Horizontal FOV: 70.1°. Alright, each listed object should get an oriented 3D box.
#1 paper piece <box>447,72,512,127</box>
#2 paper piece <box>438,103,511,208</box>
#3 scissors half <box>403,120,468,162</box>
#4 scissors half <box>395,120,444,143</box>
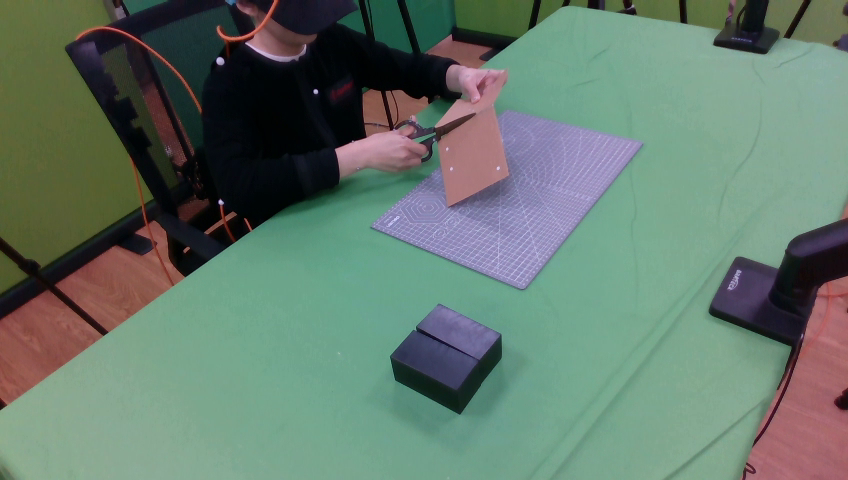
[{"bbox_3d":[0.094,-0.245,1.101,0.134,0.004,0.135,-25,27,40],"label":"paper piece"},{"bbox_3d":[0.081,-0.141,1.030,0.009,0.135,0.137,8,64,-42],"label":"paper piece"},{"bbox_3d":[0.033,-0.182,1.090,0.174,0.040,0.013,-25,21,35],"label":"scissors half"},{"bbox_3d":[0.025,-0.200,1.082,0.174,0.040,0.013,-1,28,25],"label":"scissors half"}]
